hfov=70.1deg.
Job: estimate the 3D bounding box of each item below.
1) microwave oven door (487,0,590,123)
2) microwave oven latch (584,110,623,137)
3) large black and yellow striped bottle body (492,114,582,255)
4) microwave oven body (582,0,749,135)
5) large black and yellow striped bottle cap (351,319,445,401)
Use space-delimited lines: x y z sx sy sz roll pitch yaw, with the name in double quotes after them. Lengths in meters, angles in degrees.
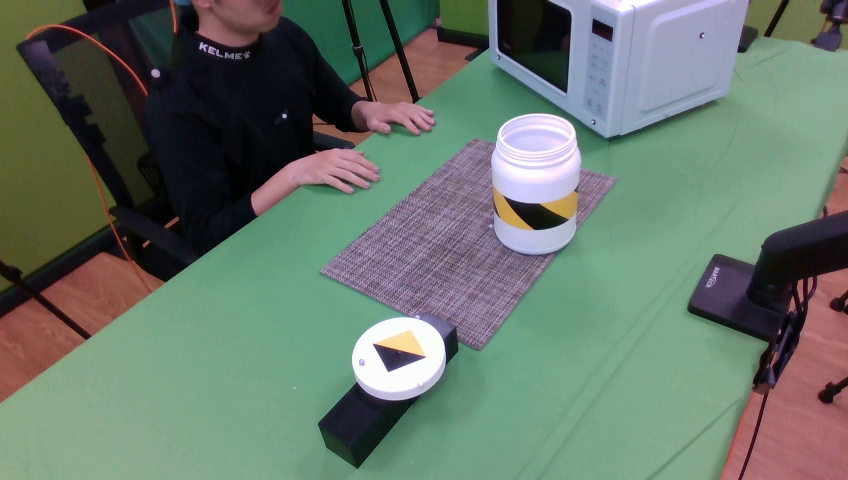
0.232 -0.420 1.231 0.039 0.245 0.352 -22 43 -16 "microwave oven door"
0.337 -0.222 1.142 0.030 0.029 0.078 -21 42 -14 "microwave oven latch"
0.169 -0.084 0.912 0.131 0.185 0.130 -4 41 4 "large black and yellow striped bottle body"
0.382 -0.444 1.246 0.327 0.261 0.437 -22 42 -16 "microwave oven body"
-0.031 0.143 0.735 0.115 0.019 0.114 -3 40 3 "large black and yellow striped bottle cap"
